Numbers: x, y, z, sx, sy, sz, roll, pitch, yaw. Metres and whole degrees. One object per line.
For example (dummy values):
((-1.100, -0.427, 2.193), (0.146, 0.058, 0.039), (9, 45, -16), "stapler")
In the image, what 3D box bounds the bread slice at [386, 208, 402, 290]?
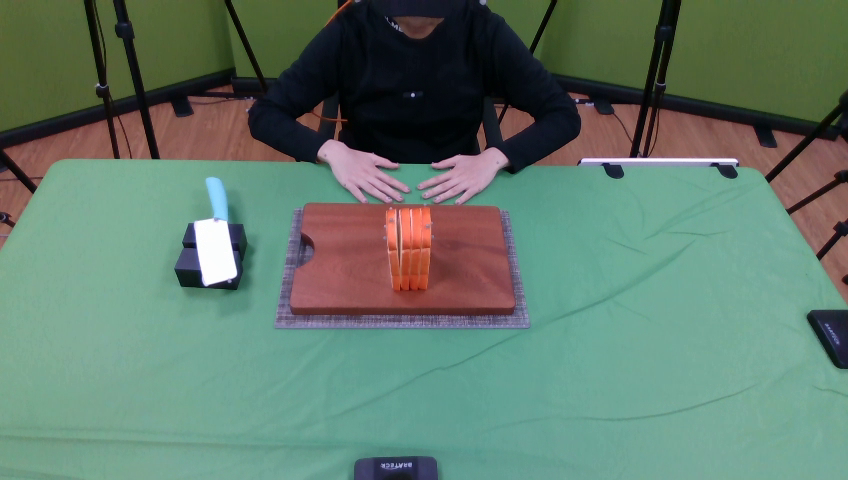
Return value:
((-0.054, 0.009, 1.069), (0.019, 0.132, 0.104), (-5, 46, 0), "bread slice")

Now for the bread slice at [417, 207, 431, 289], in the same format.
((0.000, 0.009, 1.071), (0.018, 0.135, 0.106), (0, 49, -4), "bread slice")

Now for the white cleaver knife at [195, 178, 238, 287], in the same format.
((-0.393, -0.024, 1.132), (0.066, 0.021, 0.284), (-11, 46, -14), "white cleaver knife")
